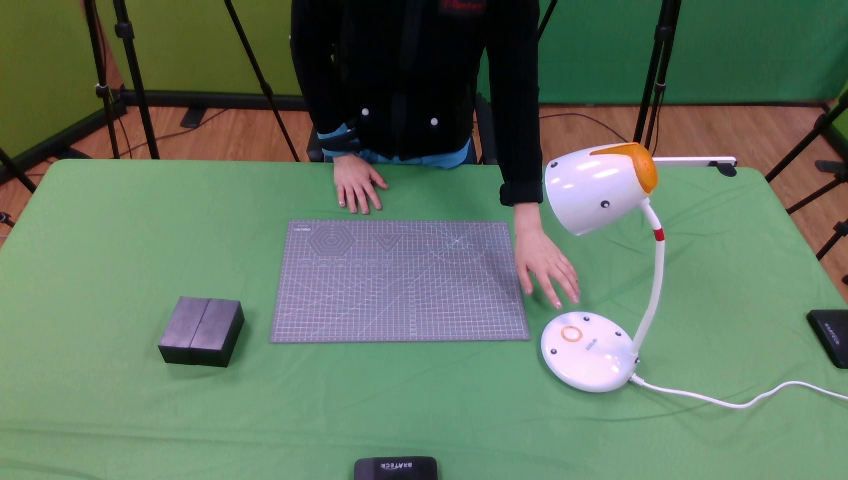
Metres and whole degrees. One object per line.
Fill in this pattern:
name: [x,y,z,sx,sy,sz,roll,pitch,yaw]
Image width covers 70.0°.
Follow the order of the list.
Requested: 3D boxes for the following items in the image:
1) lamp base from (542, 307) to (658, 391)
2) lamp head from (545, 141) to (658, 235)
lamp base: [0.296,0.138,0.975,0.178,0.181,0.160,28,51,18]
lamp head: [0.237,-0.072,0.783,0.123,0.113,0.112,-16,33,37]
